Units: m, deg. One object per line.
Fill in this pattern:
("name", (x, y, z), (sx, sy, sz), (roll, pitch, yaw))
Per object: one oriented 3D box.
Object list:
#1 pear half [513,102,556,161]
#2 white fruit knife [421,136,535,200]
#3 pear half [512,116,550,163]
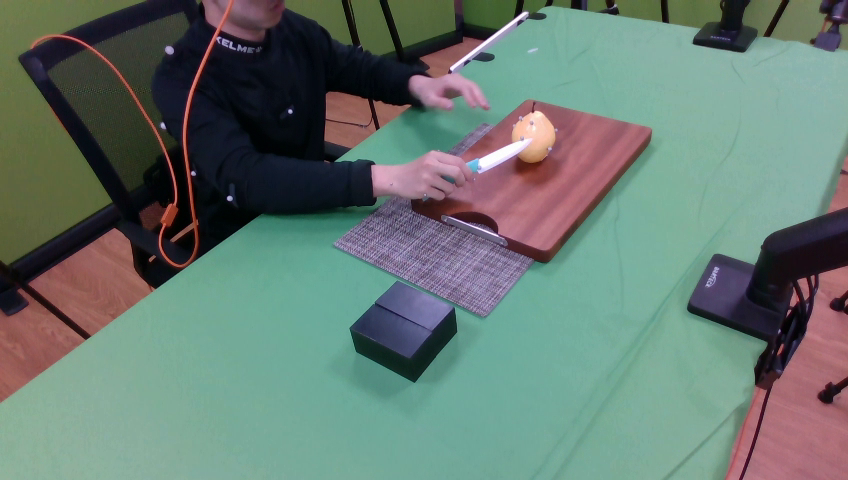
("pear half", (0.196, -0.198, 1.060), (0.076, 0.110, 0.056), (13, 44, 17))
("white fruit knife", (0.085, -0.121, 0.983), (0.207, 0.027, 0.016), (-25, 6, 7))
("pear half", (0.182, -0.169, 1.043), (0.070, 0.088, 0.031), (12, 45, 17))
